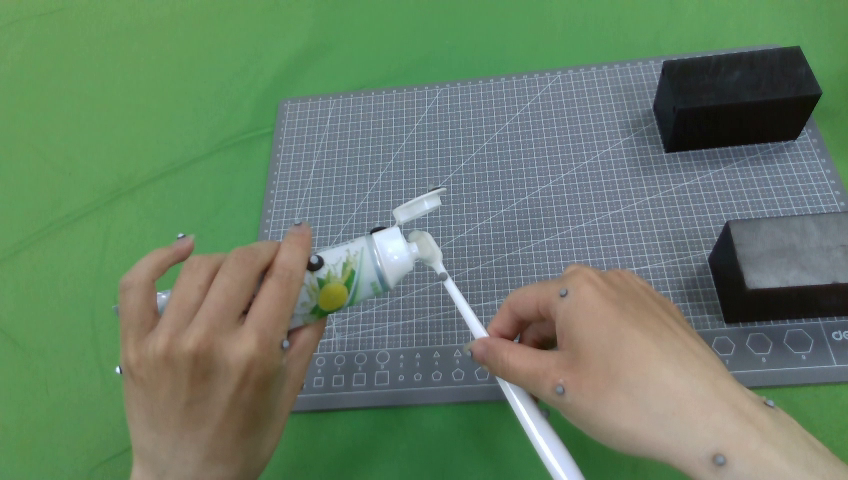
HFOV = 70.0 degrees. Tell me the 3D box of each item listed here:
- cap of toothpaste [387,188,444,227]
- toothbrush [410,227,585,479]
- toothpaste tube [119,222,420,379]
[{"bbox_3d":[-0.003,-0.019,0.350,0.037,0.037,0.011,-27,87,-7],"label":"cap of toothpaste"},{"bbox_3d":[0.039,0.065,0.336,0.014,0.017,0.180,-32,69,1],"label":"toothbrush"},{"bbox_3d":[-0.081,0.028,0.343,0.165,0.055,0.034,-20,20,-4],"label":"toothpaste tube"}]
